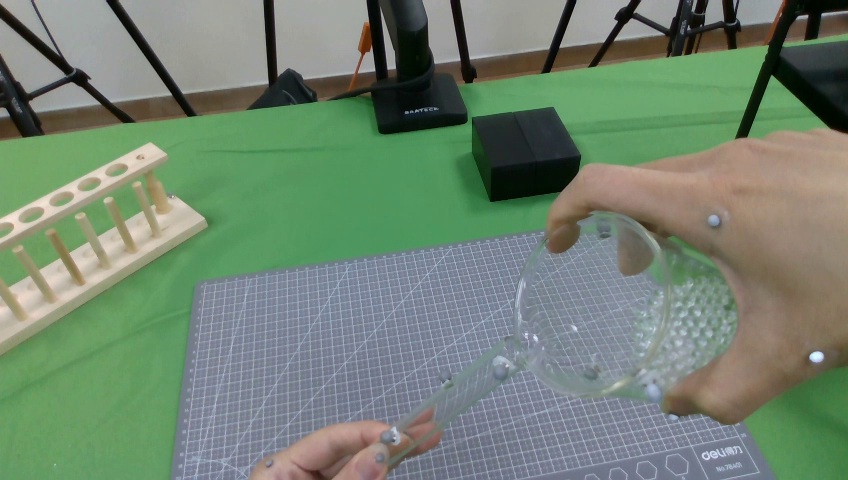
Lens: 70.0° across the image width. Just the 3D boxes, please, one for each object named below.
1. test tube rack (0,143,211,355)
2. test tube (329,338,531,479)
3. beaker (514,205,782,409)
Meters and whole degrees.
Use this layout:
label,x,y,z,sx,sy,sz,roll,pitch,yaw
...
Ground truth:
label,x,y,z,sx,sy,sz,roll,pitch,yaw
test tube rack,-0.344,0.005,0.600,0.066,0.086,0.242,32,54,30
test tube,-0.004,0.093,0.300,0.017,0.151,0.017,30,34,-23
beaker,0.099,0.037,0.267,0.101,0.084,0.073,16,45,-34
